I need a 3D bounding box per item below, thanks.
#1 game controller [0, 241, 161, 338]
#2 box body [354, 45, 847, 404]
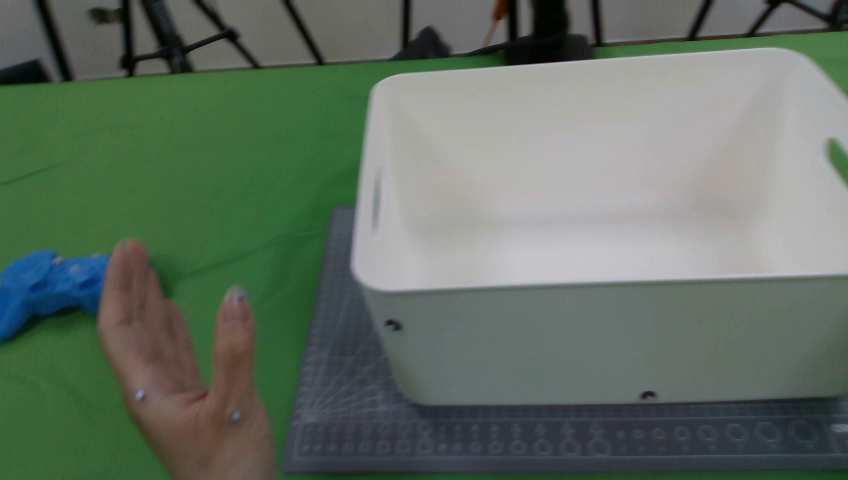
[{"bbox_3d":[-0.330,0.042,0.575,0.155,0.052,0.096,-2,42,4],"label":"game controller"},{"bbox_3d":[0.145,-0.012,0.486,0.364,0.162,0.251,-3,45,4],"label":"box body"}]
